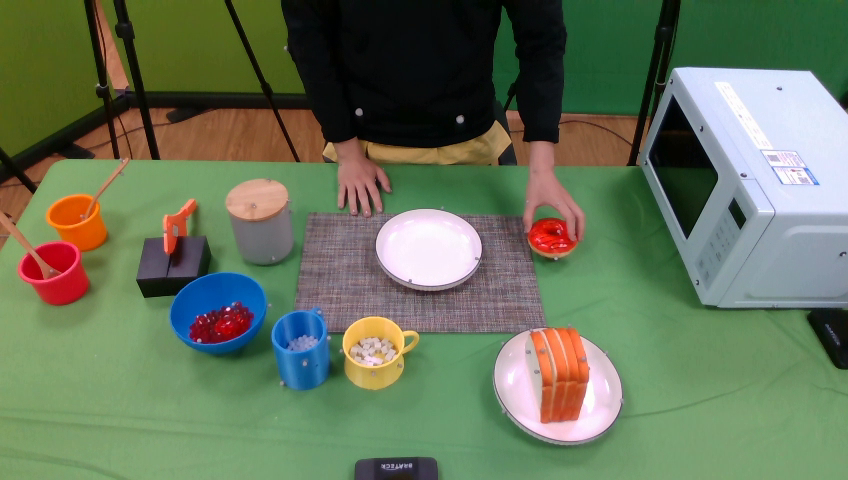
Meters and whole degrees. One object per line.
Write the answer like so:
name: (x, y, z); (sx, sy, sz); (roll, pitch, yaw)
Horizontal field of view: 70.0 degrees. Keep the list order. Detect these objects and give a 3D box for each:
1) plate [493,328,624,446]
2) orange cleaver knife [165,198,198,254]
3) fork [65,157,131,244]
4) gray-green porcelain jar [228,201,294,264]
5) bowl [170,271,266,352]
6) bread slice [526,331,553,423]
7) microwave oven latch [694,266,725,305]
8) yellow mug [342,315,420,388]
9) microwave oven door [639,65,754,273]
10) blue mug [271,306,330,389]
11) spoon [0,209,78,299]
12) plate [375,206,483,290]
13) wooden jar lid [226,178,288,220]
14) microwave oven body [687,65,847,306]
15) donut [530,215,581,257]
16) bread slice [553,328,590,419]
plate: (0.213, 0.236, 0.974); (0.208, 0.039, 0.206); (2, 46, -2)
orange cleaver knife: (-0.458, -0.031, 1.149); (0.012, 0.077, 0.210); (-2, 17, -6)
fork: (-0.608, -0.074, 1.132); (0.207, 0.019, 0.028); (-52, 48, 10)
gray-green porcelain jar: (-0.299, -0.027, 1.126); (0.106, 0.127, 0.105); (2, 46, -2)
bowl: (-0.333, 0.132, 1.006); (0.151, 0.077, 0.150); (2, 46, -2)
bread slice: (0.176, 0.202, 0.929); (0.019, 0.132, 0.104); (-9, 45, -1)
microwave oven latch: (0.523, 0.082, 1.115); (0.030, 0.029, 0.078); (3, 46, 0)
yellow mug: (-0.068, 0.177, 0.991); (0.131, 0.064, 0.099); (-15, 50, -19)
microwave oven door: (0.522, -0.147, 1.193); (0.039, 0.245, 0.353); (0, 47, -3)
blue mug: (-0.188, 0.163, 0.969); (0.082, 0.106, 0.116); (15, 47, 10)
spoon: (-0.668, 0.022, 1.040); (0.041, 0.021, 0.194); (-41, 105, -29)
plate: (0.009, 0.019, 1.161); (0.209, 0.038, 0.208); (2, 47, -2)
wooden jar lid: (-0.296, -0.070, 1.081); (0.108, 0.021, 0.107); (1, 45, -1)
microwave oven body: (0.669, -0.111, 1.176); (0.326, 0.261, 0.439); (0, 46, -3)
donut: (0.256, -0.009, 1.185); (0.099, 0.048, 0.098); (-1, 46, 1)
bread slice: (0.226, 0.201, 0.932); (0.018, 0.135, 0.106); (-4, 51, -4)
